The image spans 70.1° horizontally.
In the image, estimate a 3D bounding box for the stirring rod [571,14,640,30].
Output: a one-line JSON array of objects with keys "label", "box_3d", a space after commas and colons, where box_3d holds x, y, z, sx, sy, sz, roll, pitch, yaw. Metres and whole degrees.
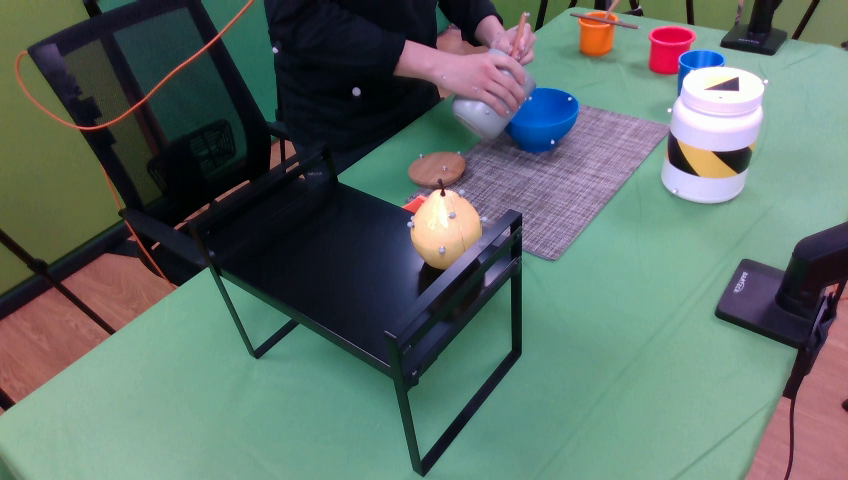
[{"label": "stirring rod", "box_3d": [0.419, -0.508, 1.404, 0.174, 0.006, 0.014, 28, 55, 35]}]

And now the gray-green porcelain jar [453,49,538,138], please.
[{"label": "gray-green porcelain jar", "box_3d": [0.121, -0.253, 1.069, 0.126, 0.107, 0.105, -52, 48, 5]}]

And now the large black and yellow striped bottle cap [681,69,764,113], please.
[{"label": "large black and yellow striped bottle cap", "box_3d": [0.453, -0.229, 0.921, 0.115, 0.019, 0.114, -4, 39, 4]}]

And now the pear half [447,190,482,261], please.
[{"label": "pear half", "box_3d": [0.046, -0.020, 0.664, 0.031, 0.088, 0.070, -17, 38, -9]}]

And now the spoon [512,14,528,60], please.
[{"label": "spoon", "box_3d": [0.150, -0.305, 1.077, 0.022, 0.193, 0.041, 18, 10, -20]}]

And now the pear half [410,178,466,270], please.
[{"label": "pear half", "box_3d": [0.011, -0.019, 0.654, 0.056, 0.110, 0.076, -16, 37, -9]}]

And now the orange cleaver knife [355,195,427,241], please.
[{"label": "orange cleaver knife", "box_3d": [-0.037, -0.029, 0.973, 0.210, 0.077, 0.012, -8, 33, 50]}]

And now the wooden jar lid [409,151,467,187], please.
[{"label": "wooden jar lid", "box_3d": [0.026, -0.131, 1.124, 0.108, 0.021, 0.108, -8, 36, 6]}]

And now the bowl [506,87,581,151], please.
[{"label": "bowl", "box_3d": [0.221, -0.223, 1.156, 0.151, 0.077, 0.150, -4, 40, 4]}]

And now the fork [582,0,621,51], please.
[{"label": "fork", "box_3d": [0.446, -0.539, 1.438, 0.207, 0.019, 0.028, -57, 36, 12]}]

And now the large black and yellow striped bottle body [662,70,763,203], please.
[{"label": "large black and yellow striped bottle body", "box_3d": [0.464, -0.166, 0.976, 0.131, 0.185, 0.130, -5, 41, 5]}]

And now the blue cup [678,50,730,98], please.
[{"label": "blue cup", "box_3d": [0.542, -0.310, 1.194, 0.092, 0.101, 0.092, -6, 41, 6]}]
